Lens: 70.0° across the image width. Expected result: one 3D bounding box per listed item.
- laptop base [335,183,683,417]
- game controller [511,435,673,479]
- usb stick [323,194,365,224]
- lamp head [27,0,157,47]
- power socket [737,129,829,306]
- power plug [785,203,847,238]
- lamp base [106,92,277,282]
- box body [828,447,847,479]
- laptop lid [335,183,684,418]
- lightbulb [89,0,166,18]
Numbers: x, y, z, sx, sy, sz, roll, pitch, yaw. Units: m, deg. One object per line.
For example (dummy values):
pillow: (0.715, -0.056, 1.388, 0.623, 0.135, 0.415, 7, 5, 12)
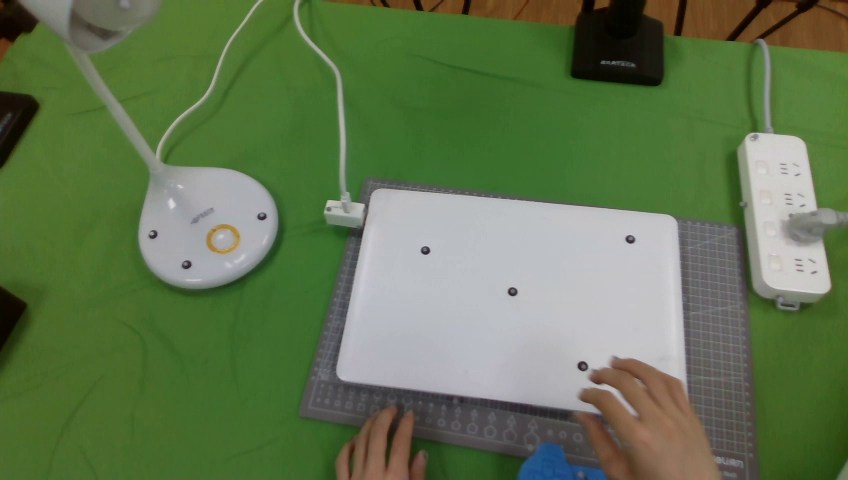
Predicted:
laptop base: (0.096, 0.056, 0.663, 0.354, 0.023, 0.234, 6, 66, 5)
game controller: (0.154, 0.235, 0.551, 0.155, 0.052, 0.096, 8, 61, 6)
usb stick: (-0.086, -0.035, 0.705, 0.059, 0.027, 0.021, 10, 58, 4)
lamp head: (-0.230, -0.200, 0.377, 0.123, 0.112, 0.112, 35, 67, -6)
power socket: (0.405, -0.035, 0.691, 0.072, 0.033, 0.225, 7, 62, 5)
power plug: (0.429, -0.014, 0.653, 0.072, 0.053, 0.035, 17, 64, 10)
lamp base: (-0.268, -0.066, 0.651, 0.178, 0.182, 0.160, 33, 68, 21)
box body: (0.540, 0.182, 0.498, 0.252, 0.161, 0.363, 40, 70, 20)
laptop lid: (0.095, 0.053, 0.652, 0.356, 0.013, 0.240, 7, 65, 6)
lightbulb: (-0.200, -0.192, 0.373, 0.059, 0.059, 0.108, -31, 104, -13)
